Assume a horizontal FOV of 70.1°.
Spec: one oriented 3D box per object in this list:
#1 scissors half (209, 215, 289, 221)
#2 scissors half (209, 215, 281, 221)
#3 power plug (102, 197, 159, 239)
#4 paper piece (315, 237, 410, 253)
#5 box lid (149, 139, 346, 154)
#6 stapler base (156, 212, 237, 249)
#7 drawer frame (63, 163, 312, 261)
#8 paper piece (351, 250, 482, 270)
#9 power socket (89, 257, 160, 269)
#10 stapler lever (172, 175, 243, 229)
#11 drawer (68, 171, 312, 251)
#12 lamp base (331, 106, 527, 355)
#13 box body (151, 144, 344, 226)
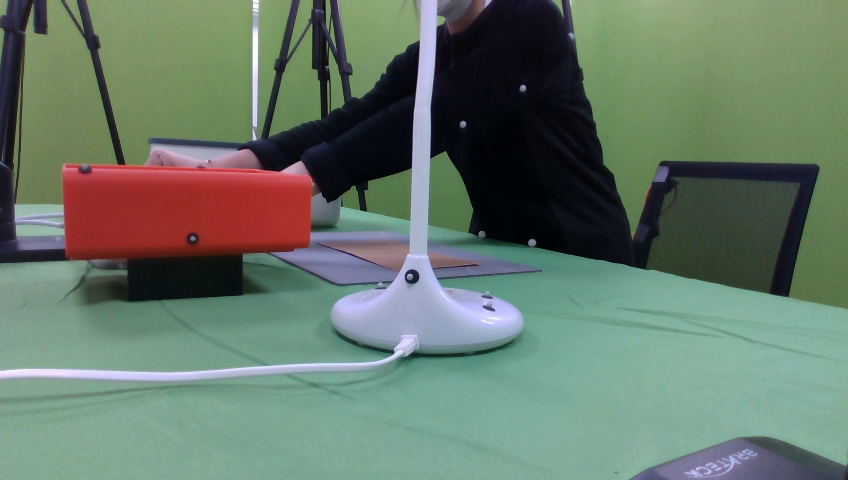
[{"bbox_3d":[-0.357,-0.044,1.235,0.175,0.013,0.040,1,-3,9],"label":"scissors half"},{"bbox_3d":[-0.364,-0.044,1.215,0.174,0.013,0.040,0,2,26],"label":"scissors half"},{"bbox_3d":[-0.392,-0.030,0.813,0.073,0.052,0.035,-8,9,-26],"label":"power plug"},{"bbox_3d":[-0.084,0.008,0.948,0.136,0.004,0.134,0,10,-31],"label":"paper piece"},{"bbox_3d":[-0.365,-0.191,1.255,0.373,0.015,0.262,-1,8,-24],"label":"box lid"},{"bbox_3d":[-0.227,-0.017,0.624,0.041,0.024,0.130,19,10,-2],"label":"stapler base"},{"bbox_3d":[-0.248,-0.036,0.626,0.215,0.082,0.200,-3,9,-31],"label":"drawer frame"},{"bbox_3d":[-0.013,0.026,0.841,0.139,0.008,0.135,-1,11,-32],"label":"paper piece"},{"bbox_3d":[-0.409,0.005,0.793,0.072,0.032,0.225,-2,8,-38],"label":"power socket"},{"bbox_3d":[-0.217,-0.041,0.618,0.027,0.040,0.118,19,11,-2],"label":"stapler lever"},{"bbox_3d":[-0.247,-0.036,0.629,0.213,0.073,0.193,-3,9,-30],"label":"drawer"},{"bbox_3d":[0.006,-0.012,0.478,0.161,0.180,0.179,2,10,2],"label":"lamp base"},{"bbox_3d":[-0.370,-0.119,1.264,0.366,0.160,0.253,-1,8,-24],"label":"box body"}]
